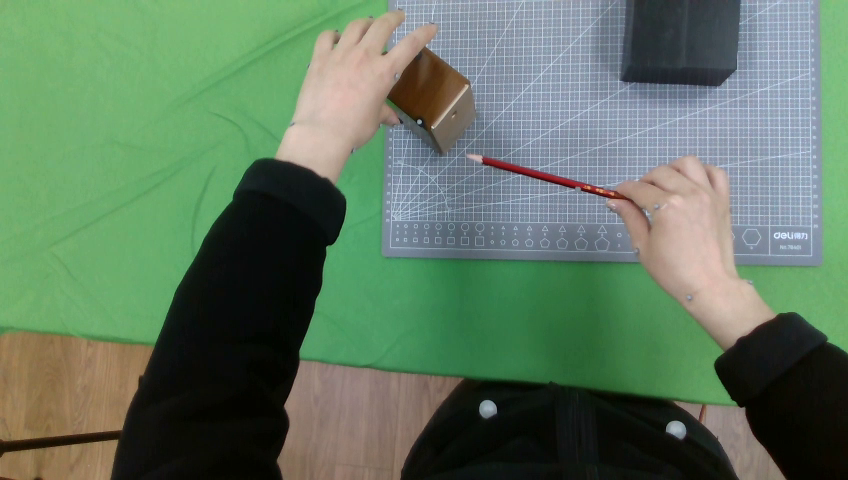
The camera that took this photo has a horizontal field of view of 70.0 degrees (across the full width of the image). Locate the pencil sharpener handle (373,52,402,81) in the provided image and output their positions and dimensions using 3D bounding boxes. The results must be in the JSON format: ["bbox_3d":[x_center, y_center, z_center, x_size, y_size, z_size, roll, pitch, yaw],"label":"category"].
[{"bbox_3d":[-0.040,-0.173,0.607,0.030,0.068,0.036,40,81,9],"label":"pencil sharpener handle"}]

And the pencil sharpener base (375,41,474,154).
[{"bbox_3d":[0.002,-0.141,0.613,0.076,0.107,0.061,40,92,9],"label":"pencil sharpener base"}]

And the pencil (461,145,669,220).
[{"bbox_3d":[0.125,-0.053,0.540,0.194,0.012,0.012,19,89,0],"label":"pencil"}]
